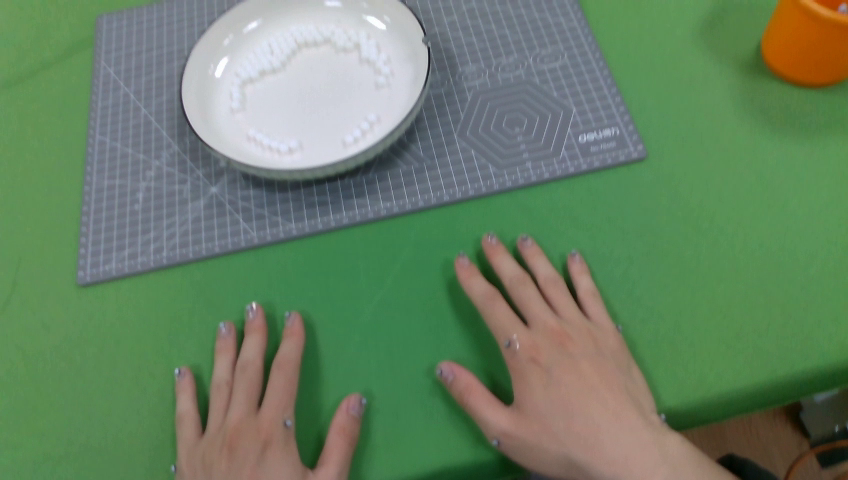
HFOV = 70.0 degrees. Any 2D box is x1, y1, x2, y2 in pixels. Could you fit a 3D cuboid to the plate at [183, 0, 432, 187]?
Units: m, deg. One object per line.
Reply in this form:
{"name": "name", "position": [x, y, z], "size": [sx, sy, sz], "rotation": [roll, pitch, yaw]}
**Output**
{"name": "plate", "position": [-0.095, -0.128, 0.513], "size": [0.207, 0.039, 0.206], "rotation": [-2, 62, 4]}

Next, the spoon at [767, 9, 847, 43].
{"name": "spoon", "position": [0.341, -0.170, 0.431], "size": [0.041, 0.192, 0.022], "rotation": [-43, 109, -18]}
